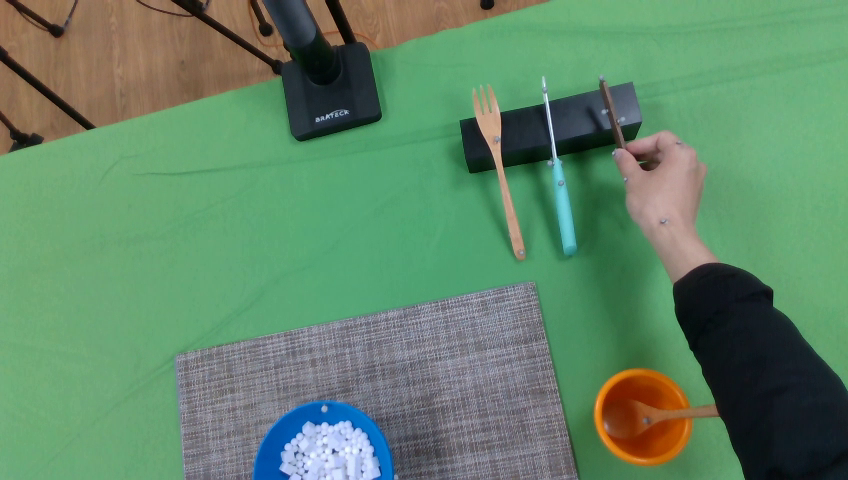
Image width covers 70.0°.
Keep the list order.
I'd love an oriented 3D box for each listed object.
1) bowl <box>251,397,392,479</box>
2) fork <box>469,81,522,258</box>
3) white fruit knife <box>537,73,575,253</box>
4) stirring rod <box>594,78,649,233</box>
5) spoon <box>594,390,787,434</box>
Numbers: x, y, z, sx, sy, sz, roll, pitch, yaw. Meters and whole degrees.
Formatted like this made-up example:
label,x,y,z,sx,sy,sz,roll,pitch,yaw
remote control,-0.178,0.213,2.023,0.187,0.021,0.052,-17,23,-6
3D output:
label,x,y,z,sx,sy,sz,roll,pitch,yaw
bowl,-0.100,0.247,0.656,0.151,0.077,0.150,-2,77,9
fork,0.085,-0.078,0.698,0.028,0.018,0.207,-14,96,3
white fruit knife,0.147,-0.086,0.689,0.016,0.027,0.207,-11,92,5
stirring rod,0.215,-0.091,0.660,0.006,0.014,0.176,-19,93,-11
spoon,0.248,0.163,0.584,0.193,0.022,0.041,-26,67,50
